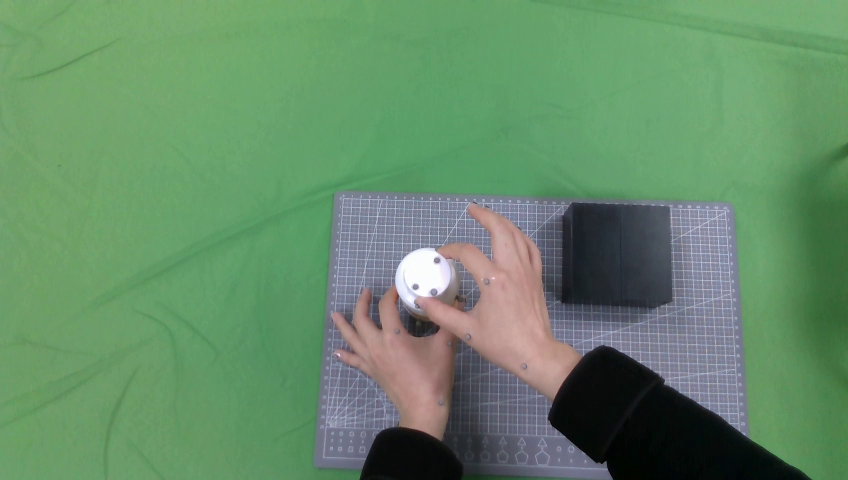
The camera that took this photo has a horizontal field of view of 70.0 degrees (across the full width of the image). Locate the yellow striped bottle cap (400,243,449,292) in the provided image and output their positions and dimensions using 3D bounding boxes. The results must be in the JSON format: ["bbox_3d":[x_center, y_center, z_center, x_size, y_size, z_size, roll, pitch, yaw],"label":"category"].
[{"bbox_3d":[0.001,0.025,0.550,0.044,0.019,0.044,1,82,-6],"label":"yellow striped bottle cap"}]

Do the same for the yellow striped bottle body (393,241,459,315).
[{"bbox_3d":[0.003,0.039,0.607,0.063,0.121,0.062,0,78,1],"label":"yellow striped bottle body"}]
